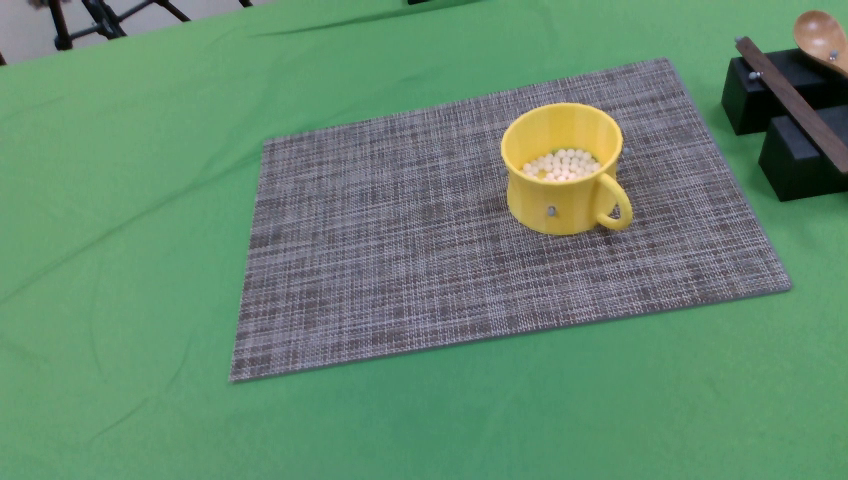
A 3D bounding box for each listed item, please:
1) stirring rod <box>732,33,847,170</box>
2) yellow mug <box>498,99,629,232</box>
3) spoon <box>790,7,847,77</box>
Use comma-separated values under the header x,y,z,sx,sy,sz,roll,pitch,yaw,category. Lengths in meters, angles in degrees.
x,y,z,sx,sy,sz,roll,pitch,yaw,category
0.301,-0.121,0.503,0.014,0.006,0.174,-40,43,31,stirring rod
0.126,-0.057,0.522,0.100,0.064,0.129,-35,54,-14,yellow mug
0.352,-0.126,0.492,0.041,0.022,0.191,-9,53,4,spoon
